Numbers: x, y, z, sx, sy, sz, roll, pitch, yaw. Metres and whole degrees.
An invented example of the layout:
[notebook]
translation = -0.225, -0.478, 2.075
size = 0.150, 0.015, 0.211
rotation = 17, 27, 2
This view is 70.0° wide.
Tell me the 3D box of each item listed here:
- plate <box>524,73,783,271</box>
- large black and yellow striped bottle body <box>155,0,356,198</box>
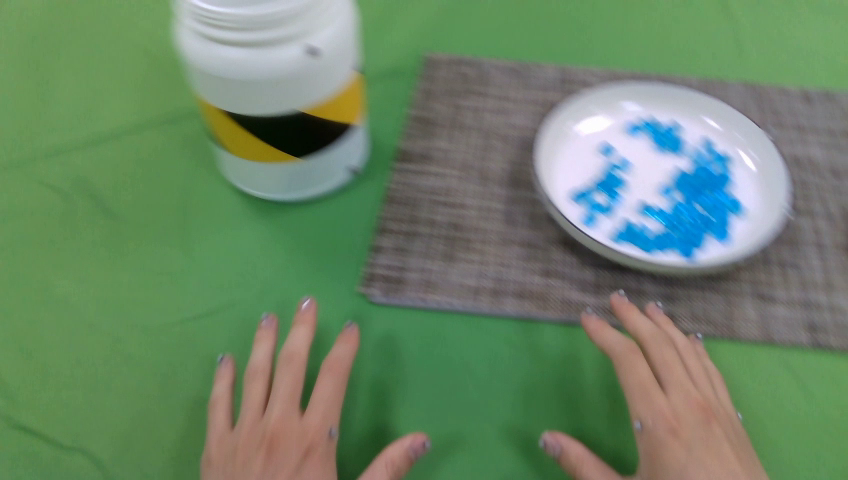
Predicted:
[plate]
translation = 0.186, -0.058, 0.510
size = 0.208, 0.039, 0.205
rotation = 0, 56, 0
[large black and yellow striped bottle body]
translation = -0.127, -0.137, 0.478
size = 0.131, 0.185, 0.129
rotation = 0, 55, 0
